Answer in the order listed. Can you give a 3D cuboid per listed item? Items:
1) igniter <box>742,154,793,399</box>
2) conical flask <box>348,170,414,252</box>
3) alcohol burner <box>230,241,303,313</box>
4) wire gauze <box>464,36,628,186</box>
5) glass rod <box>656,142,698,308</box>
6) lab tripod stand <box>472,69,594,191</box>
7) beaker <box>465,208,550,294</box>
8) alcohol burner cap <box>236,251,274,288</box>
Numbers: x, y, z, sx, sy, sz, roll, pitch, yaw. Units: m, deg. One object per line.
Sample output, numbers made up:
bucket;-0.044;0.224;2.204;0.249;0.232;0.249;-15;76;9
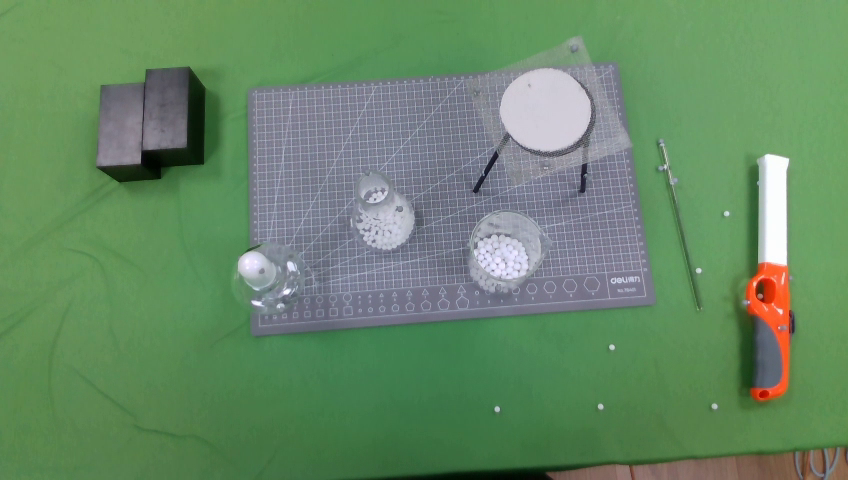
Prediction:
igniter;0.381;0.037;0.671;0.057;0.025;0.275;10;77;-8
conical flask;-0.049;-0.035;0.639;0.075;0.122;0.075;0;76;1
alcohol burner;-0.167;0.036;0.627;0.078;0.119;0.077;0;78;-1
wire gauze;0.117;-0.124;0.583;0.125;0.011;0.121;-21;79;-3
glass rod;0.288;-0.020;0.694;0.008;0.008;0.198;-7;77;-1
lab tripod stand;0.119;-0.107;0.648;0.148;0.132;0.147;0;79;1
beaker;0.083;0.015;0.638;0.084;0.100;0.073;-6;77;-1
alcohol burner cap;-0.166;0.026;0.592;0.034;0.048;0.033;1;74;-4
